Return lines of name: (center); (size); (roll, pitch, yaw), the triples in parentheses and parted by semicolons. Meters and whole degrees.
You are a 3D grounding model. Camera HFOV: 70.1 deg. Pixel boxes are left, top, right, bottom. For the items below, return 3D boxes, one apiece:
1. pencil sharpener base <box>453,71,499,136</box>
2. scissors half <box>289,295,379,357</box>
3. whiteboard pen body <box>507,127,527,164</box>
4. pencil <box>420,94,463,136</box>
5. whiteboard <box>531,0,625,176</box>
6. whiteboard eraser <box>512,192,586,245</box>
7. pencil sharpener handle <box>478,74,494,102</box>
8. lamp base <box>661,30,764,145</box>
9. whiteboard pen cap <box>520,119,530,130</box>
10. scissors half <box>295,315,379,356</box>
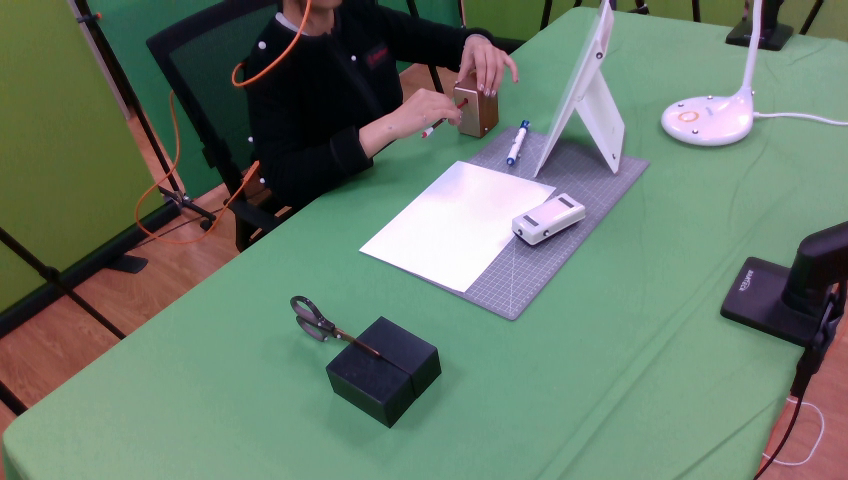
pencil sharpener base: (0.108, -0.276, 1.219); (0.061, 0.107, 0.077); (20, 48, 30)
scissors half: (-0.122, 0.114, 0.803); (0.174, 0.040, 0.013); (26, 50, 32)
whiteboard pen body: (0.181, -0.189, 1.162); (0.017, 0.017, 0.140); (8, 42, 19)
pencil: (0.048, -0.254, 1.155); (0.012, 0.012, 0.194); (20, 51, 29)
whiteboard: (0.320, -0.258, 1.050); (0.144, 0.306, 0.217); (22, 45, 5)
whiteboard eraser: (0.199, -0.032, 0.962); (0.113, 0.042, 0.055); (-27, 42, -20)
pencil sharpener handle: (0.132, -0.317, 1.242); (0.036, 0.068, 0.031); (28, 52, 21)
lamp base: (0.535, -0.287, 1.096); (0.179, 0.181, 0.159); (-10, 40, -4)
whiteboard pen cap: (0.199, -0.226, 1.204); (0.018, 0.018, 0.033); (7, 41, 18)
scissors half: (-0.119, 0.131, 0.813); (0.173, 0.040, 0.013); (9, 34, 45)
